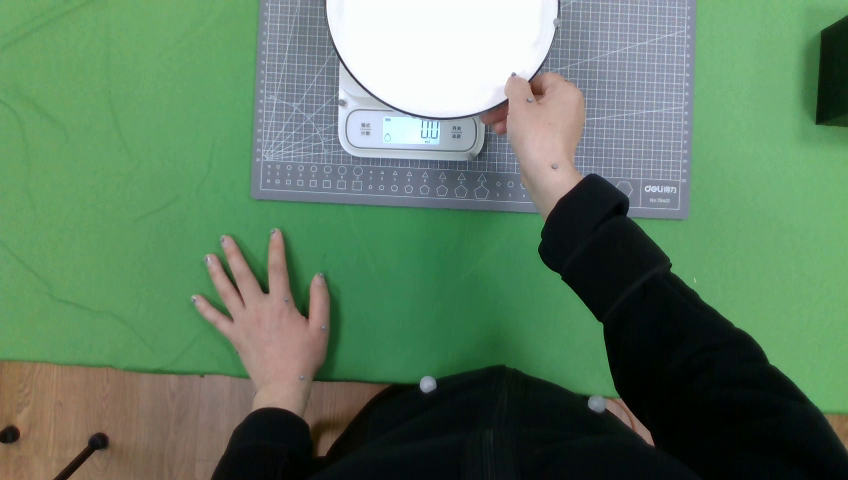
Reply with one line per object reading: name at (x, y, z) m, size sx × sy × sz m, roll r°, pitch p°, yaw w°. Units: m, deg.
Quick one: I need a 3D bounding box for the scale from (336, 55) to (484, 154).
scale at (-0.012, -0.190, 0.608) m, size 0.149 × 0.031 × 0.200 m, roll 2°, pitch 90°, yaw -1°

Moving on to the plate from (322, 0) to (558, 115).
plate at (0.015, -0.212, 0.549) m, size 0.209 × 0.038 × 0.208 m, roll 0°, pitch 87°, yaw -2°
